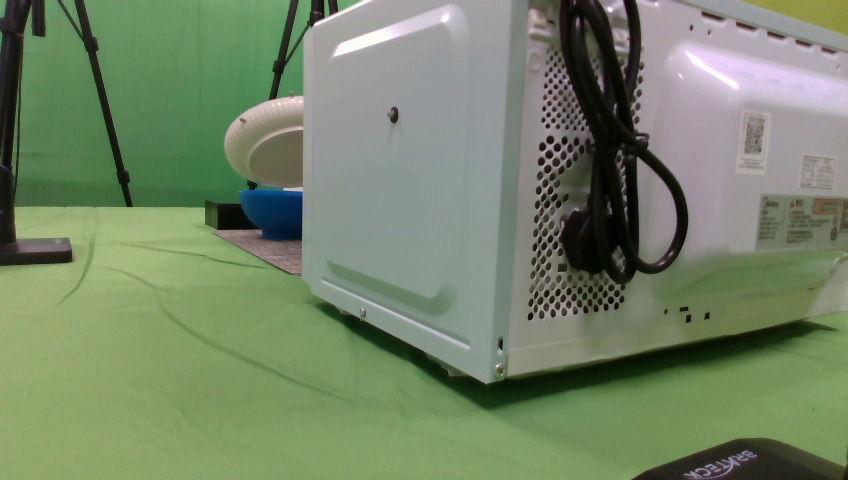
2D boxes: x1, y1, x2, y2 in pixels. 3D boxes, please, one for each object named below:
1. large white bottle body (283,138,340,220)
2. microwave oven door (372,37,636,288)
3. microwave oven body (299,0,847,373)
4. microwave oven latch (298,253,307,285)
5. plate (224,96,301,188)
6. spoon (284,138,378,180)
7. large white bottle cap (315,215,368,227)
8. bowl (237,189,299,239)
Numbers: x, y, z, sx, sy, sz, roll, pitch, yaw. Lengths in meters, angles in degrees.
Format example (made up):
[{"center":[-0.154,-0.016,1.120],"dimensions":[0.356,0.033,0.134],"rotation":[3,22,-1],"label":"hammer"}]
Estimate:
[{"center":[-0.265,-0.144,1.424],"dimensions":[0.131,0.184,0.130],"rotation":[2,7,0],"label":"large white bottle body"},{"center":[0.110,-0.080,0.686],"dimensions":[0.358,0.243,0.039],"rotation":[-2,9,-33],"label":"microwave oven door"},{"center":[0.151,-0.055,0.542],"dimensions":[0.444,0.260,0.324],"rotation":[-2,7,-33],"label":"microwave oven body"},{"center":[-0.081,0.027,0.582],"dimensions":[0.079,0.029,0.030],"rotation":[-1,7,-32],"label":"microwave oven latch"},{"center":[-0.195,-0.137,0.925],"dimensions":[0.209,0.038,0.209],"rotation":[-14,-25,-6],"label":"plate"},{"center":[-0.152,-0.143,1.025],"dimensions":[0.194,0.041,0.021],"rotation":[-25,-5,-32],"label":"spoon"},{"center":[-0.177,-0.041,1.309],"dimensions":[0.115,0.018,0.115],"rotation":[2,6,0],"label":"large white bottle cap"},{"center":[-0.245,-0.046,1.053],"dimensions":[0.151,0.077,0.151],"rotation":[3,8,0],"label":"bowl"}]
